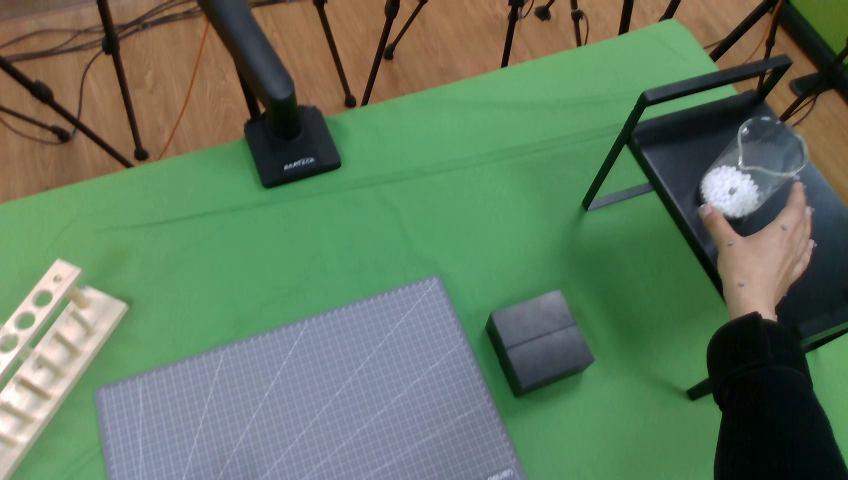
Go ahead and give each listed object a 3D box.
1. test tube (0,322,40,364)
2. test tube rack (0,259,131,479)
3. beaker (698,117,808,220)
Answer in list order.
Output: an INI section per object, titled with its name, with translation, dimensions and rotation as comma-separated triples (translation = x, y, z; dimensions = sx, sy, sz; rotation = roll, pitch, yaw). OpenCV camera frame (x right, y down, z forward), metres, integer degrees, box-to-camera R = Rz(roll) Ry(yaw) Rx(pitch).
[test tube]
translation = -0.460, 0.104, 0.665
dimensions = 0.017, 0.151, 0.017
rotation = 2, 58, -2
[test tube rack]
translation = -0.454, 0.150, 0.697
dimensions = 0.066, 0.086, 0.241
rotation = 22, 63, 8
[beaker]
translation = 0.354, -0.072, 0.668
dimensions = 0.084, 0.101, 0.073
rotation = -31, 68, -18
